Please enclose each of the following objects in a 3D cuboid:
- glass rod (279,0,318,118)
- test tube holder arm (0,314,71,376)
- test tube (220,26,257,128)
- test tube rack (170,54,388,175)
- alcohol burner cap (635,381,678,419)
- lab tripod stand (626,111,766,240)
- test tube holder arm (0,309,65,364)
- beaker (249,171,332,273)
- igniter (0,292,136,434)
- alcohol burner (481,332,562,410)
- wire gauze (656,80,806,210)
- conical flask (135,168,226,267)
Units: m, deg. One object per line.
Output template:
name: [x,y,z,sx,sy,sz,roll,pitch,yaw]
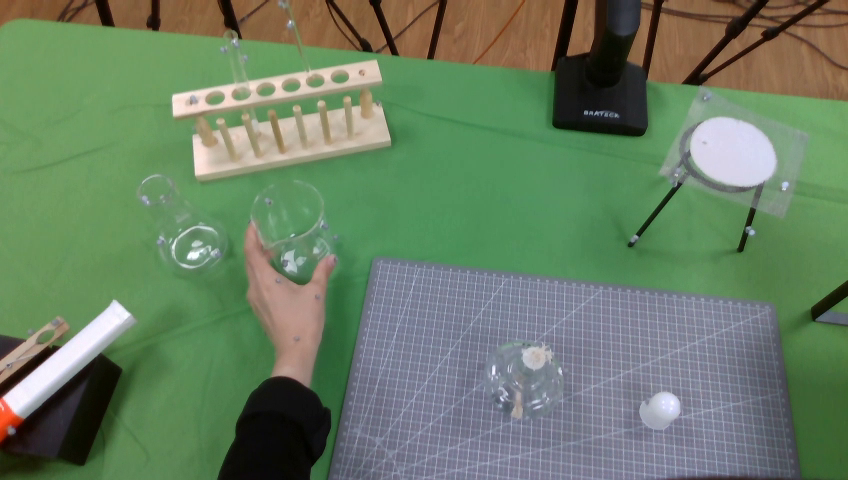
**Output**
glass rod: [-0.144,-0.213,0.698,0.008,0.201,0.008,-3,55,4]
test tube holder arm: [-0.382,0.105,0.583,0.087,0.015,0.010,-43,99,-20]
test tube: [-0.212,-0.183,0.701,0.017,0.151,0.017,2,59,-3]
test tube rack: [-0.171,-0.153,0.741,0.243,0.086,0.066,-12,62,-7]
alcohol burner cap: [0.231,0.155,0.597,0.034,0.048,0.033,0,62,0]
lab tripod stand: [0.304,-0.064,0.666,0.148,0.132,0.147,1,61,-1]
test tube holder arm: [-0.417,0.130,0.567,0.178,0.015,0.013,-43,100,-20]
beaker: [-0.142,-0.012,0.658,0.074,0.101,0.083,20,64,12]
igniter: [-0.387,0.154,0.554,0.057,0.025,0.276,32,65,26]
alcohol burner: [0.095,0.119,0.576,0.078,0.120,0.077,1,60,-1]
wire gauze: [0.311,-0.097,0.607,0.121,0.011,0.124,26,66,12]
conical flask: [-0.267,-0.028,0.653,0.075,0.123,0.074,0,61,1]
